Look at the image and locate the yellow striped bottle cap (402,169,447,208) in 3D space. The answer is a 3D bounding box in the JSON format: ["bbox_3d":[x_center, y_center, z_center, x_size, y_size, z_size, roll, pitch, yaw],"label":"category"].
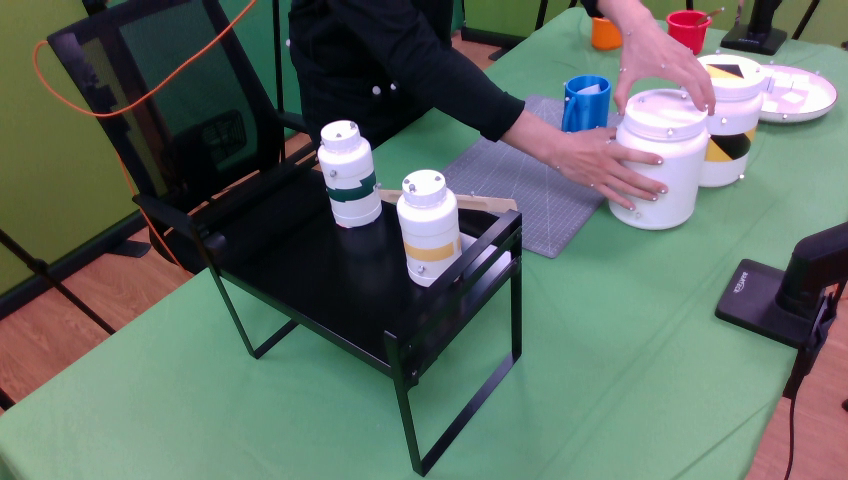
[{"bbox_3d":[0.000,-0.052,0.604,0.044,0.019,0.044,-5,43,5],"label":"yellow striped bottle cap"}]

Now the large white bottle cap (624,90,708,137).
[{"bbox_3d":[0.353,-0.187,0.885,0.115,0.018,0.114,-4,40,4],"label":"large white bottle cap"}]

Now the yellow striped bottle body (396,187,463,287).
[{"bbox_3d":[0.006,-0.013,0.638,0.063,0.121,0.062,-5,41,4],"label":"yellow striped bottle body"}]

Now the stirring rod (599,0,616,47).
[{"bbox_3d":[0.437,-0.551,1.462,0.014,0.006,0.175,-11,83,1],"label":"stirring rod"}]

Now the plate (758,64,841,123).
[{"bbox_3d":[0.694,-0.283,1.189,0.207,0.039,0.206,-4,40,4],"label":"plate"}]

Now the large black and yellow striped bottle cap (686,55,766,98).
[{"bbox_3d":[0.474,-0.258,0.952,0.115,0.019,0.114,-5,41,5],"label":"large black and yellow striped bottle cap"}]

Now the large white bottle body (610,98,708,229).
[{"bbox_3d":[0.362,-0.124,0.939,0.130,0.185,0.130,-5,39,4],"label":"large white bottle body"}]

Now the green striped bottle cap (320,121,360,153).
[{"bbox_3d":[-0.097,-0.119,0.699,0.044,0.020,0.044,-4,38,4],"label":"green striped bottle cap"}]

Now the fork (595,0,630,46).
[{"bbox_3d":[0.480,-0.556,1.452,0.028,0.019,0.207,41,103,40],"label":"fork"}]

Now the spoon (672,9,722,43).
[{"bbox_3d":[0.606,-0.476,1.345,0.042,0.021,0.193,-6,-3,-2],"label":"spoon"}]

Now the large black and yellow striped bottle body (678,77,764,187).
[{"bbox_3d":[0.482,-0.196,1.008,0.131,0.185,0.130,-4,41,4],"label":"large black and yellow striped bottle body"}]

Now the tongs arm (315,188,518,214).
[{"bbox_3d":[-0.028,-0.060,0.988,0.382,0.027,0.051,9,45,36],"label":"tongs arm"}]

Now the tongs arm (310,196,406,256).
[{"bbox_3d":[-0.078,-0.012,0.944,0.028,0.028,0.384,-43,39,-23],"label":"tongs arm"}]

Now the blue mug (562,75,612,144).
[{"bbox_3d":[0.298,-0.239,1.143,0.117,0.106,0.081,-37,48,-29],"label":"blue mug"}]

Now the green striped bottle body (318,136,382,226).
[{"bbox_3d":[-0.090,-0.081,0.733,0.063,0.120,0.063,-5,41,4],"label":"green striped bottle body"}]
